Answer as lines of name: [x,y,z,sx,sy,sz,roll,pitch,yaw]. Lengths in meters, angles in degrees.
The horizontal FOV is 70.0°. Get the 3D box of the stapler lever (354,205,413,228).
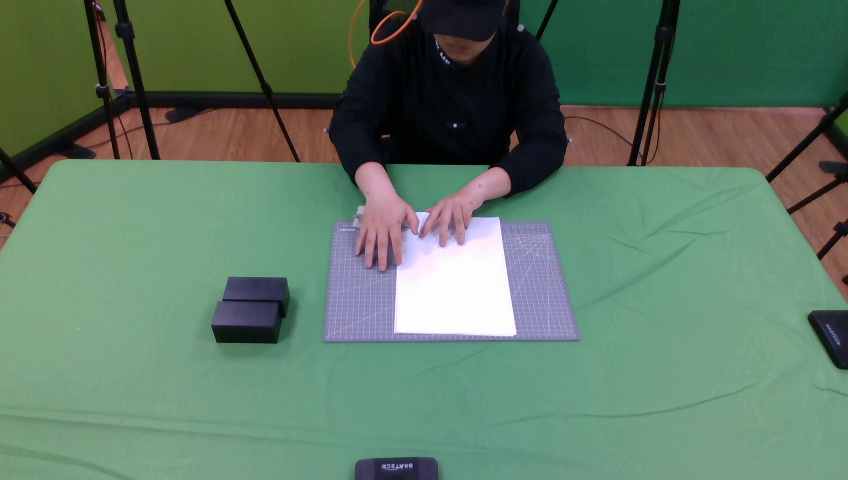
stapler lever: [-0.079,-0.047,1.217,0.118,0.040,0.026,17,44,-7]

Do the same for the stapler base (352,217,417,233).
stapler base: [-0.079,-0.041,1.225,0.130,0.024,0.041,6,44,4]
